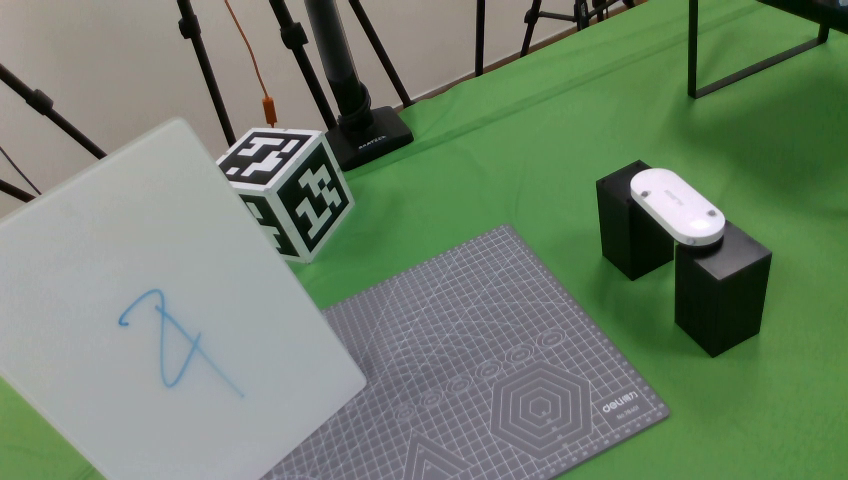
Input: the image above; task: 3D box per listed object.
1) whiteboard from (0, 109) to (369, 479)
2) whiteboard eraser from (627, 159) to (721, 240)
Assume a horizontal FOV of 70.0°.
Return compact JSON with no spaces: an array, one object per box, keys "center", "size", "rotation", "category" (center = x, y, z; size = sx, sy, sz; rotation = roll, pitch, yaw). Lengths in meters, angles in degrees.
[{"center":[-0.235,0.070,0.557],"size":[0.217,0.308,0.143],"rotation":[-39,25,-20],"category":"whiteboard"},{"center":[0.212,-0.038,0.520],"size":[0.041,0.019,0.100],"rotation":[-23,42,-3],"category":"whiteboard eraser"}]
